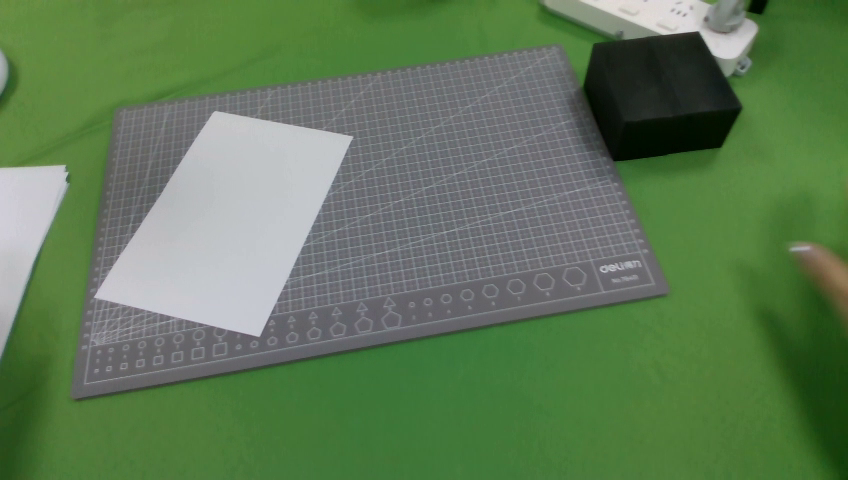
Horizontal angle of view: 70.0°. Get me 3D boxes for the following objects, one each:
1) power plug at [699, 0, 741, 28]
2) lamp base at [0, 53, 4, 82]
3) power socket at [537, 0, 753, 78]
[{"bbox_3d":[0.299,-0.230,0.590,0.072,0.053,0.035,-38,63,-19],"label":"power plug"},{"bbox_3d":[-0.518,-0.206,0.548,0.160,0.182,0.177,-37,60,-20],"label":"lamp base"},{"bbox_3d":[0.224,-0.234,0.623,0.225,0.033,0.072,32,63,22],"label":"power socket"}]
